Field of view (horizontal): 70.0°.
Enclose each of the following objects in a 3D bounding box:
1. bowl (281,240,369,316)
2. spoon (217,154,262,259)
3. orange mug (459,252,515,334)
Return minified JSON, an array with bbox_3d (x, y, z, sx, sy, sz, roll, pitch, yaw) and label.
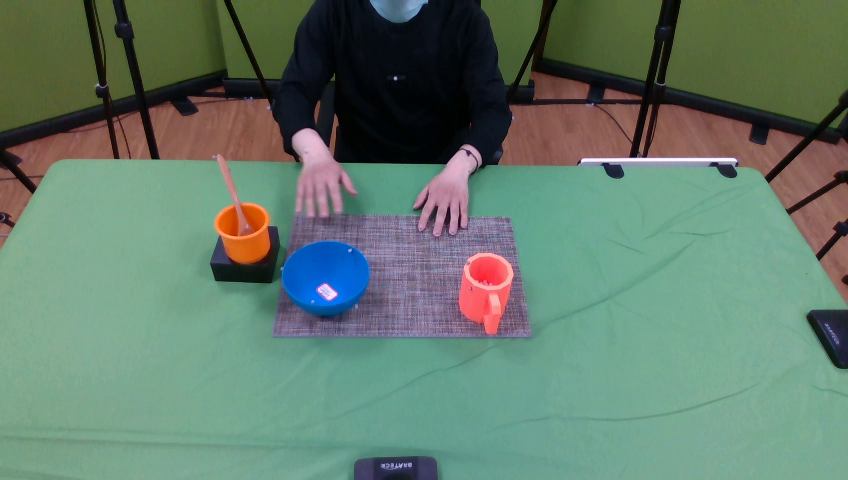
[{"bbox_3d":[-0.170,0.080,1.062,0.151,0.077,0.150,2,46,-2],"label":"bowl"},{"bbox_3d":[-0.330,-0.060,1.073,0.042,0.194,0.021,-18,6,-21],"label":"spoon"},{"bbox_3d":[0.111,0.096,1.052,0.083,0.101,0.125,-4,42,-7],"label":"orange mug"}]
